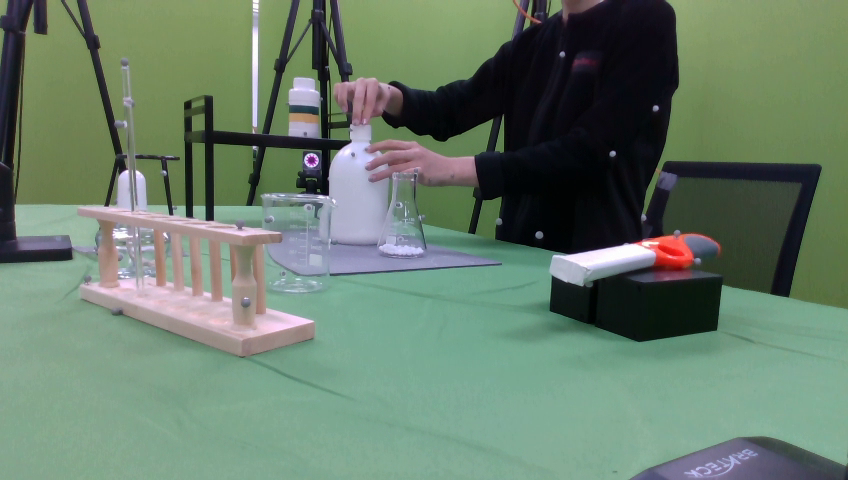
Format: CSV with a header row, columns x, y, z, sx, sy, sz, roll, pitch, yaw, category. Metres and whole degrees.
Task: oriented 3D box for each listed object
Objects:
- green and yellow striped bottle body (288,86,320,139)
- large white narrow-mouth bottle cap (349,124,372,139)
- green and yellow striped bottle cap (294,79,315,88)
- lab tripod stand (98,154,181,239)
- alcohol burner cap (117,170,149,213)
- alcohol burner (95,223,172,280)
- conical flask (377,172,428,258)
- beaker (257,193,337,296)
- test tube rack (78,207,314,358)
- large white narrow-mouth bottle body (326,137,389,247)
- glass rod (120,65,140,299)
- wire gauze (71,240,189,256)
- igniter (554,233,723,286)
x,y,z,sx,sy,sz,roll,pitch,yaw,category
-0.250,-0.272,1.261,0.063,0.119,0.063,3,7,0,green and yellow striped bottle body
-0.102,-0.176,0.981,0.038,0.024,0.037,4,9,0,large white narrow-mouth bottle cap
-0.248,-0.323,1.256,0.045,0.020,0.045,3,8,0,green and yellow striped bottle cap
-0.427,-0.066,0.942,0.148,0.131,0.148,1,6,0,lab tripod stand
-0.320,-0.052,0.661,0.034,0.048,0.034,-3,0,0,alcohol burner cap
-0.320,-0.016,0.667,0.078,0.119,0.078,0,7,0,alcohol burner
-0.029,-0.037,0.875,0.075,0.122,0.075,3,7,0,conical flask
-0.130,0.004,0.628,0.084,0.100,0.074,5,8,15,beaker
-0.196,0.024,0.500,0.241,0.085,0.067,8,8,37,test tube rack
-0.107,-0.091,0.996,0.102,0.194,0.101,4,9,0,large white narrow-mouth bottle body
-0.249,-0.047,0.513,0.008,0.199,0.008,-1,4,0,glass rod
-0.399,0.013,0.820,0.126,0.011,0.121,-3,8,-37,wire gauze
0.214,0.015,0.570,0.278,0.025,0.057,-5,21,-44,igniter
